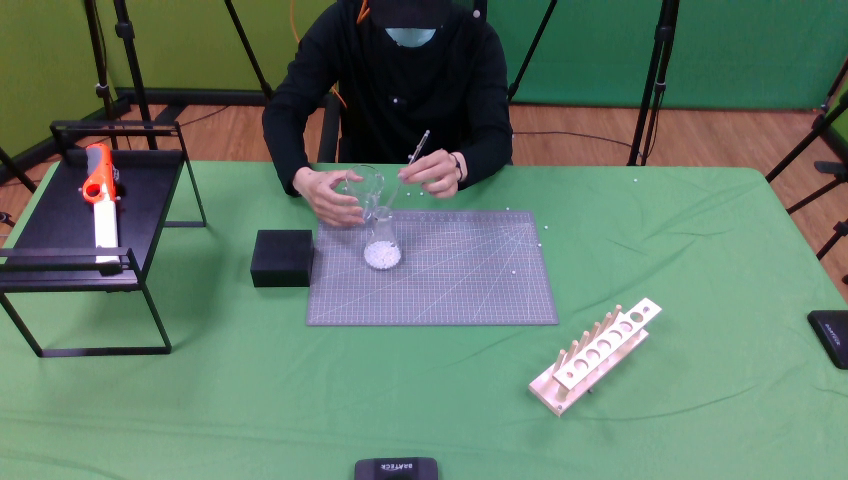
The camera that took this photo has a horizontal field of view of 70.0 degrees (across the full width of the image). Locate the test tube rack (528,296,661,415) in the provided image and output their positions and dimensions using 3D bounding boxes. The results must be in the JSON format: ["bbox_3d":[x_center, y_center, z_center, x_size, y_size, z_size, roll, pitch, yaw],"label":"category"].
[{"bbox_3d":[0.285,0.178,1.005,0.242,0.085,0.066,-31,55,-29],"label":"test tube rack"}]

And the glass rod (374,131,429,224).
[{"bbox_3d":[-0.042,-0.106,1.059,0.008,0.200,0.008,26,27,-14],"label":"glass rod"}]

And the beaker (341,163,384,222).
[{"bbox_3d":[-0.121,-0.087,1.176,0.074,0.100,0.083,-27,67,-30],"label":"beaker"}]

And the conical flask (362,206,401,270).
[{"bbox_3d":[-0.079,-0.008,1.127,0.075,0.122,0.075,2,46,-2],"label":"conical flask"}]

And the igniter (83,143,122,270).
[{"bbox_3d":[-0.508,-0.063,0.962,0.057,0.025,0.274,-14,53,-18],"label":"igniter"}]
